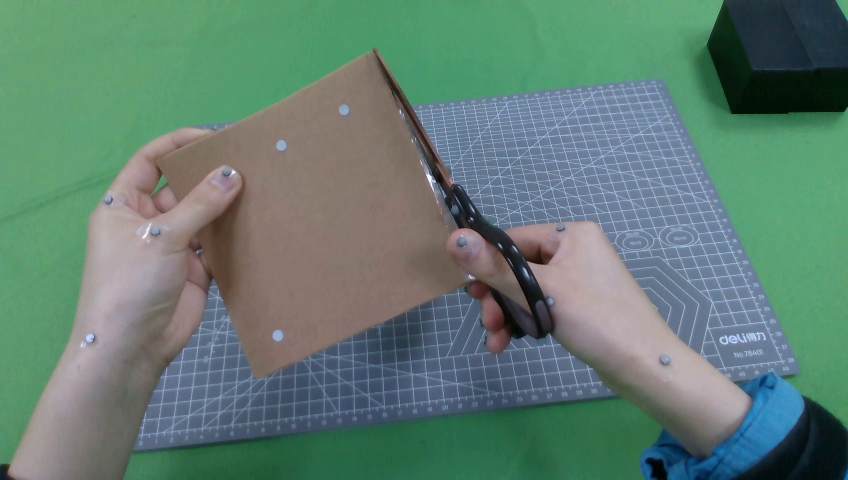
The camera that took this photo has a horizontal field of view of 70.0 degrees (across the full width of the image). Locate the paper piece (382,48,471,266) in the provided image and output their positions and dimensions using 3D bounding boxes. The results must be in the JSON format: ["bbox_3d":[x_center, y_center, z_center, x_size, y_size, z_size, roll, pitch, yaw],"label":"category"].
[{"bbox_3d":[0.000,-0.048,0.397,0.004,0.135,0.135,-24,96,-3],"label":"paper piece"}]

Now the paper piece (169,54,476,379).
[{"bbox_3d":[-0.060,-0.013,0.328,0.138,0.009,0.135,-25,80,11],"label":"paper piece"}]

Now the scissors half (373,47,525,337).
[{"bbox_3d":[0.014,-0.025,0.331,0.013,0.040,0.175,-28,99,-6],"label":"scissors half"}]

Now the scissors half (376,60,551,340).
[{"bbox_3d":[0.015,-0.028,0.309,0.013,0.040,0.174,-28,72,-11],"label":"scissors half"}]
